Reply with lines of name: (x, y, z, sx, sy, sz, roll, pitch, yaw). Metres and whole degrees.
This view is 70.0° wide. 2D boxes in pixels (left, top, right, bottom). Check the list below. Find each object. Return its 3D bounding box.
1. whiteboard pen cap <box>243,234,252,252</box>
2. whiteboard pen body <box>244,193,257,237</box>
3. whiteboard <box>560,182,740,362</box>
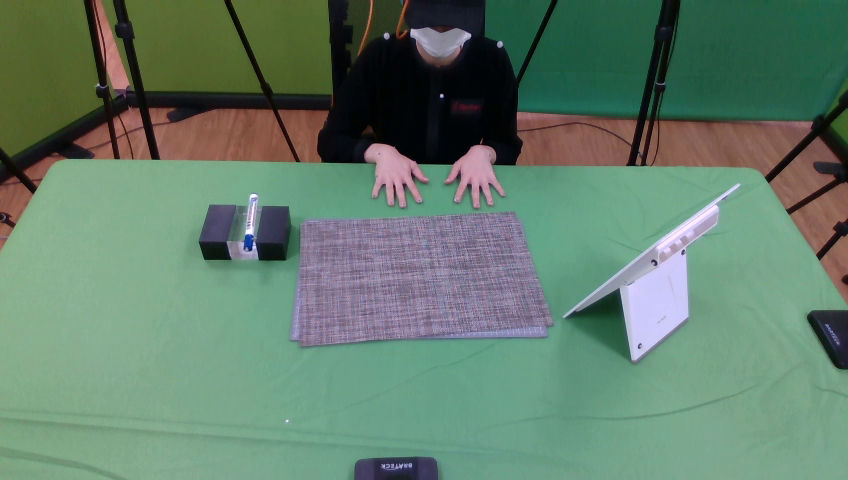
whiteboard pen cap: (-0.322, 0.004, 1.103, 0.018, 0.018, 0.033, -4, 47, -8)
whiteboard pen body: (-0.328, -0.039, 1.145, 0.017, 0.017, 0.140, -3, 46, -7)
whiteboard: (0.406, 0.075, 1.001, 0.217, 0.306, 0.143, -28, 73, -28)
